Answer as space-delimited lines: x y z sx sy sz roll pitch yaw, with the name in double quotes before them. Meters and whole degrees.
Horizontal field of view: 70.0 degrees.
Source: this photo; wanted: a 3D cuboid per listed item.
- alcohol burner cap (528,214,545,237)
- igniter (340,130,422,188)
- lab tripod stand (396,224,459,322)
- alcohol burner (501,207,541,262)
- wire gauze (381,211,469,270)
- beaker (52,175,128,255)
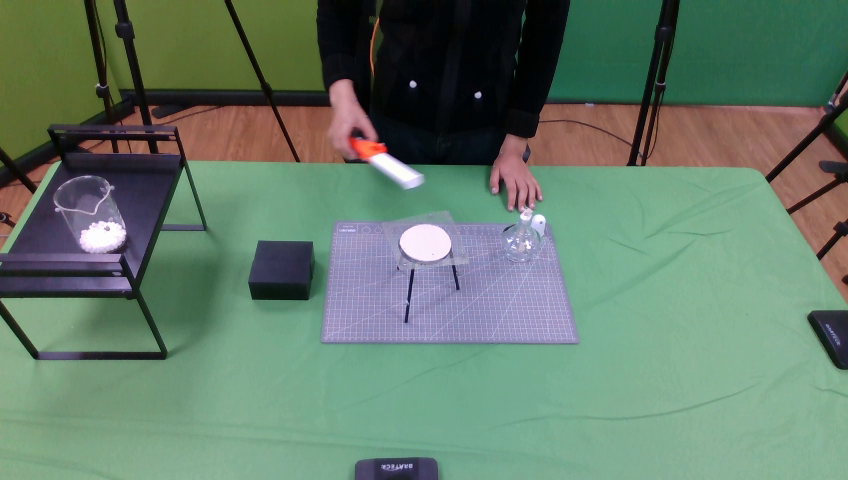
"alcohol burner cap" 0.231 -0.032 1.230 0.034 0.048 0.033 2 46 -2
"igniter" -0.088 -0.157 1.131 0.057 0.025 0.275 -24 37 -24
"lab tripod stand" -0.003 0.052 1.067 0.148 0.132 0.147 3 48 -3
"alcohol burner" 0.188 -0.015 1.161 0.078 0.120 0.077 1 44 -1
"wire gauze" 0.000 0.000 1.023 0.125 0.011 0.120 -9 48 -13
"beaker" -0.482 -0.032 0.888 0.074 0.101 0.083 -28 55 -27
